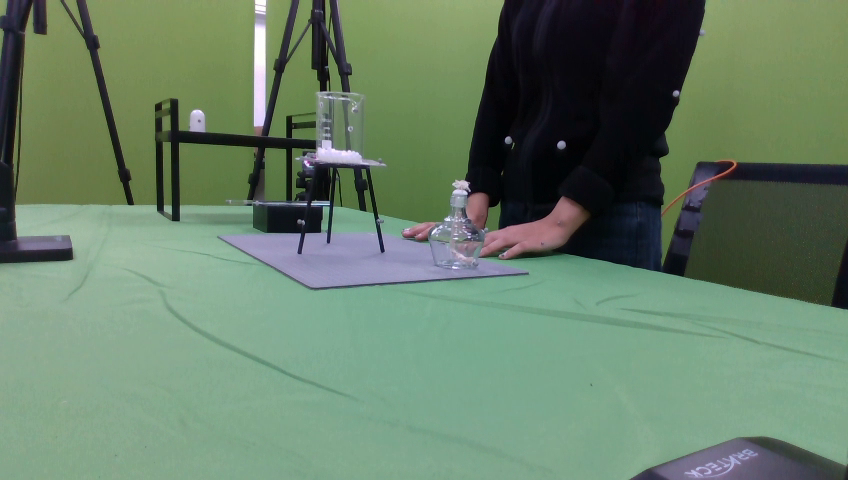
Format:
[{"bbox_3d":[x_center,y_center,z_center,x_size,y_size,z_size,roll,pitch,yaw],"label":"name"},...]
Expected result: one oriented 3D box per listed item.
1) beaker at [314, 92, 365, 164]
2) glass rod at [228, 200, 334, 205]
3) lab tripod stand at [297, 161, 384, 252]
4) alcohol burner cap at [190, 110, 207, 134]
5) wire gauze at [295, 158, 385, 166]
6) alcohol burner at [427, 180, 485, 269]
[{"bbox_3d":[-0.123,-0.164,0.893,0.073,0.100,0.084,8,9,30],"label":"beaker"},{"bbox_3d":[-0.268,-0.071,1.148,0.201,0.008,0.008,-1,8,-28],"label":"glass rod"},{"bbox_3d":[-0.130,-0.051,0.903,0.148,0.131,0.148,3,9,0],"label":"lab tripod stand"},{"bbox_3d":[-0.463,-0.242,1.240,0.034,0.048,0.034,1,7,0],"label":"alcohol burner cap"},{"bbox_3d":[-0.128,-0.117,0.901,0.125,0.011,0.121,-2,8,-14],"label":"wire gauze"},{"bbox_3d":[0.044,-0.021,0.807,0.078,0.119,0.078,4,6,0],"label":"alcohol burner"}]
